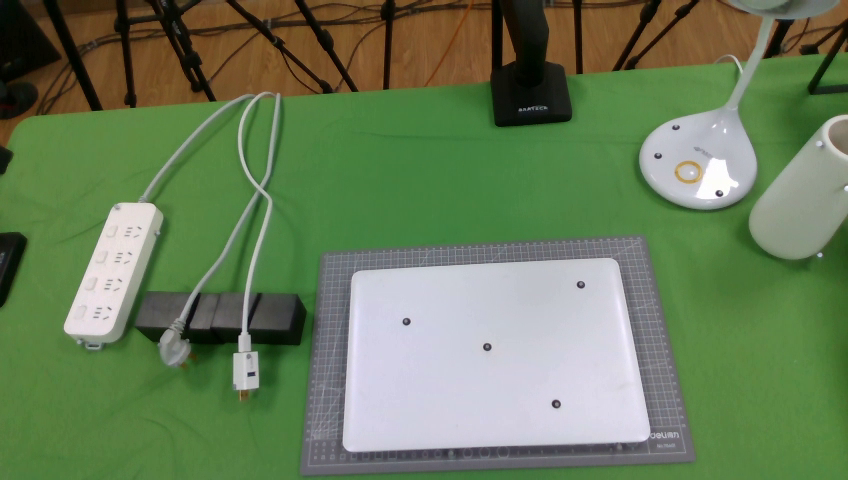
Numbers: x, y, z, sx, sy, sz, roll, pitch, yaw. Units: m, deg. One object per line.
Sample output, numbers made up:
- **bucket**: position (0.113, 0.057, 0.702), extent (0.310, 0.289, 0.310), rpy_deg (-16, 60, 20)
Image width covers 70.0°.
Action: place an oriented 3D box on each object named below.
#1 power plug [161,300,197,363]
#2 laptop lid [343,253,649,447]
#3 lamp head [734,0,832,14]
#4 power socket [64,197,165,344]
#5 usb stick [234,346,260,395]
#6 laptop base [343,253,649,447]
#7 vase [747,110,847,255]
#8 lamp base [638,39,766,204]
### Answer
- **power plug**: position (-0.295, 0.120, 0.756), extent (0.035, 0.053, 0.072), rpy_deg (29, 73, 41)
- **laptop lid**: position (0.078, 0.128, 0.744), extent (0.356, 0.013, 0.239), rpy_deg (-2, 62, 4)
- **lamp head**: position (0.327, -0.278, 0.531), extent (0.112, 0.113, 0.122), rpy_deg (24, 82, 18)
- **power socket**: position (-0.428, 0.034, 0.846), extent (0.072, 0.033, 0.225), rpy_deg (2, 59, 6)
- **usb stick**: position (-0.216, 0.159, 0.738), extent (0.027, 0.021, 0.059), rpy_deg (-6, 84, 37)
- **laptop base**: position (0.079, 0.131, 0.755), extent (0.354, 0.023, 0.233), rpy_deg (-3, 63, 3)
- **vase**: position (0.469, -0.065, 0.732), extent (0.098, 0.202, 0.097), rpy_deg (-3, 58, 5)
- **lamp base**: position (0.390, -0.168, 0.809), extent (0.159, 0.182, 0.178), rpy_deg (27, 63, 19)
